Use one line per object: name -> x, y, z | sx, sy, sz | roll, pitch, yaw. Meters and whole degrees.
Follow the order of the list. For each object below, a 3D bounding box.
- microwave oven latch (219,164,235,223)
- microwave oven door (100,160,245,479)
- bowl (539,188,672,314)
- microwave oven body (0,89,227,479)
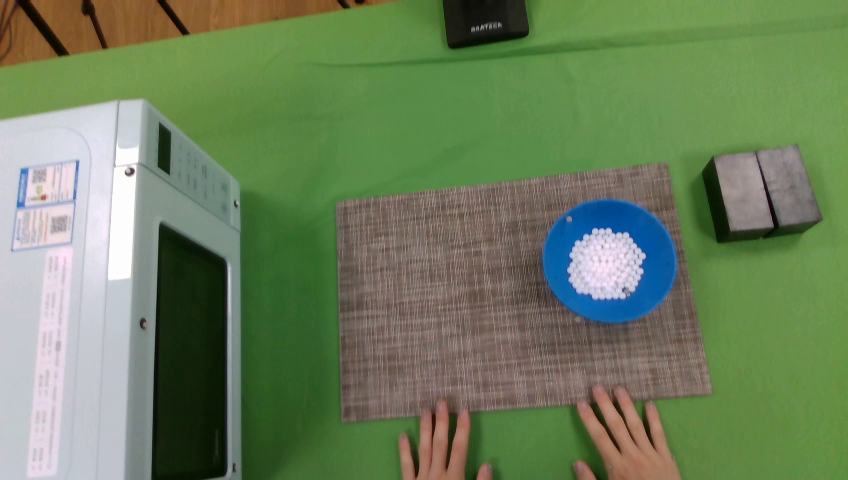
microwave oven latch -> -0.277, -0.063, 0.832 | 0.030, 0.030, 0.078 | -8, 75, 5
microwave oven door -> -0.271, 0.119, 0.676 | 0.039, 0.245, 0.353 | -8, 74, 6
bowl -> 0.214, 0.021, 0.735 | 0.151, 0.077, 0.150 | -2, 75, 8
microwave oven body -> -0.419, 0.100, 0.706 | 0.326, 0.262, 0.439 | -8, 75, 5
